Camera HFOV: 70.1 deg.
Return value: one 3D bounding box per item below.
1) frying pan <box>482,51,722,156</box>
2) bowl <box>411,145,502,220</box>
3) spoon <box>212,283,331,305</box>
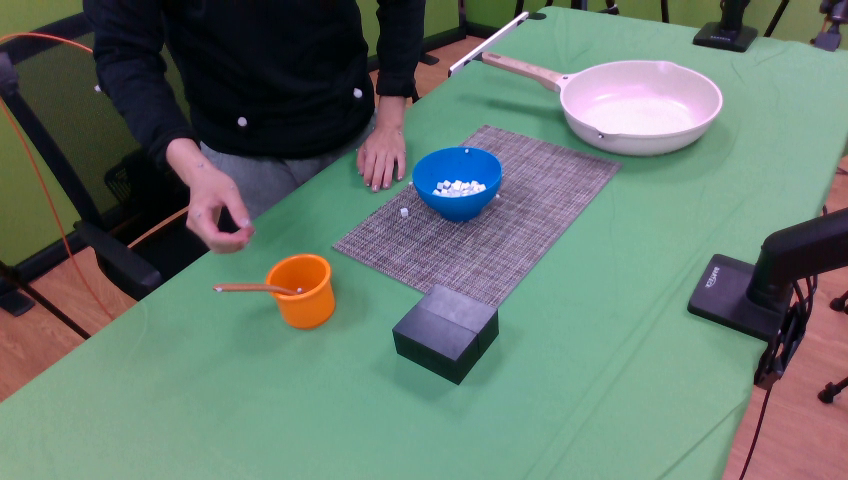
[{"bbox_3d":[0.326,-0.298,1.204,0.484,0.103,0.307,28,51,23],"label":"frying pan"},{"bbox_3d":[0.057,-0.086,1.010,0.151,0.077,0.150,-4,40,4],"label":"bowl"},{"bbox_3d":[-0.201,0.069,0.819,0.041,0.195,0.021,32,99,37],"label":"spoon"}]
